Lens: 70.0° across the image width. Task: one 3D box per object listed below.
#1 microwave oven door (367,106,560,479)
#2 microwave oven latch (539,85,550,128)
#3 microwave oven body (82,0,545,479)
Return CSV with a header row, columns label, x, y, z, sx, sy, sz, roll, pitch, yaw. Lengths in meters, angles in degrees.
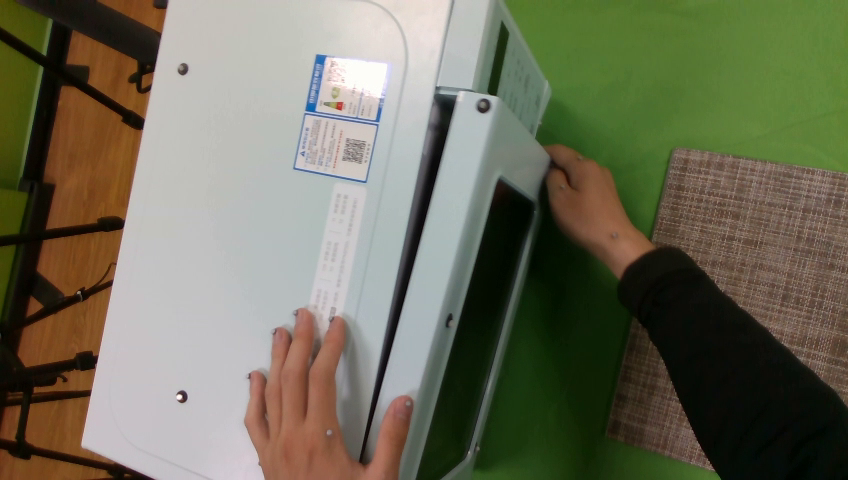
label,x,y,z,sx,sy,sz,roll,pitch,yaw
microwave oven door,0.039,0.085,0.540,0.039,0.245,0.355,16,91,23
microwave oven latch,0.109,-0.125,0.640,0.030,0.029,0.079,22,94,21
microwave oven body,-0.094,0.015,0.603,0.324,0.261,0.441,12,90,21
